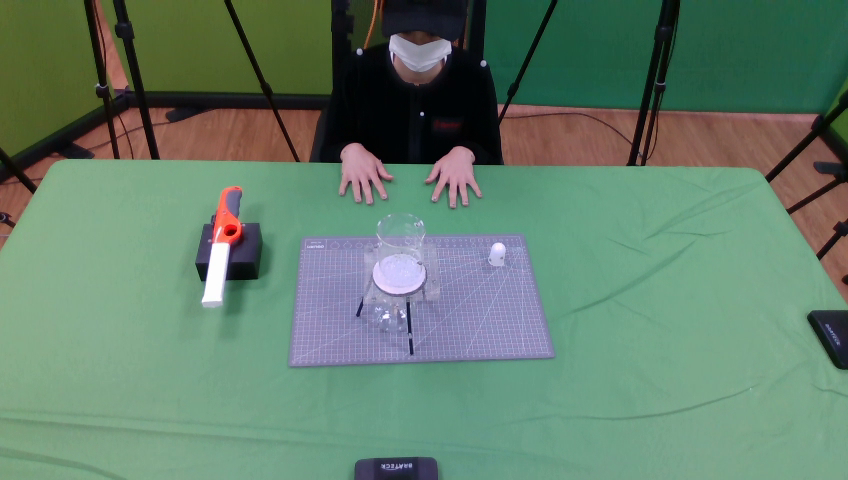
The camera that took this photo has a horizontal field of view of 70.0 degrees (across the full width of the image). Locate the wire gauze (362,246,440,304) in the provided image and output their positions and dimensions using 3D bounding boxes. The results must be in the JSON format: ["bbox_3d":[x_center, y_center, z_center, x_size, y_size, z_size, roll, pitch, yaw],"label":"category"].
[{"bbox_3d":[-0.038,0.052,0.972,0.121,0.011,0.124,0,44,-5],"label":"wire gauze"}]

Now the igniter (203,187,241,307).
[{"bbox_3d":[-0.365,0.003,1.098,0.057,0.025,0.274,-1,49,-7],"label":"igniter"}]

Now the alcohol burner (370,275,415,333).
[{"bbox_3d":[-0.054,0.103,1.026,0.078,0.120,0.077,1,44,-1],"label":"alcohol burner"}]

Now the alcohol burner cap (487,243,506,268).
[{"bbox_3d":[0.141,0.027,1.166,0.034,0.048,0.033,2,45,-2],"label":"alcohol burner cap"}]

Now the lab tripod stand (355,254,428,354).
[{"bbox_3d":[-0.046,0.100,1.017,0.148,0.132,0.147,1,47,-1],"label":"lab tripod stand"}]

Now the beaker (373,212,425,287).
[{"bbox_3d":[-0.036,0.019,0.936,0.074,0.101,0.083,-29,54,-26],"label":"beaker"}]
